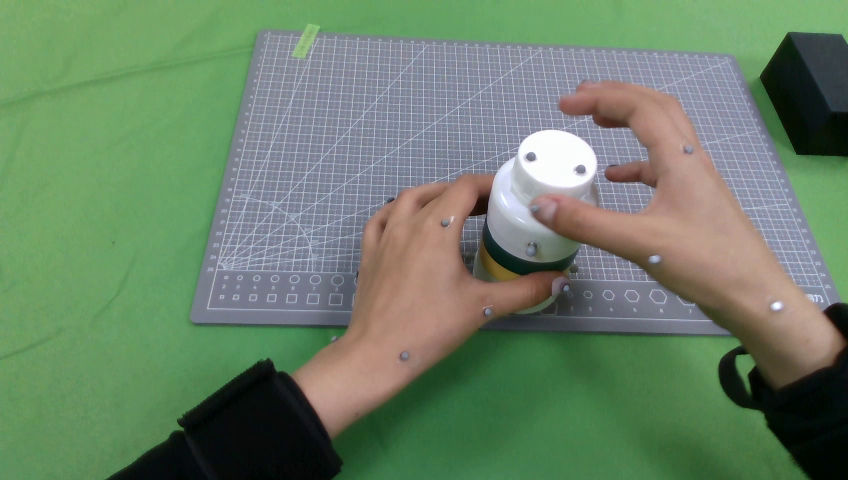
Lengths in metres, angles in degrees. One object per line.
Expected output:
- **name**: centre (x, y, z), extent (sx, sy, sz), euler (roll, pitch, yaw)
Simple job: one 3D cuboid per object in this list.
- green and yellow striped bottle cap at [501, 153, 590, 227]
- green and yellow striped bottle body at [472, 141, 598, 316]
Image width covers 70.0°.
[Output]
- **green and yellow striped bottle cap**: centre (0.065, -0.028, 0.322), extent (0.045, 0.020, 0.045), euler (8, 38, -6)
- **green and yellow striped bottle body**: centre (0.068, -0.007, 0.377), extent (0.063, 0.120, 0.062), euler (2, 55, -2)
